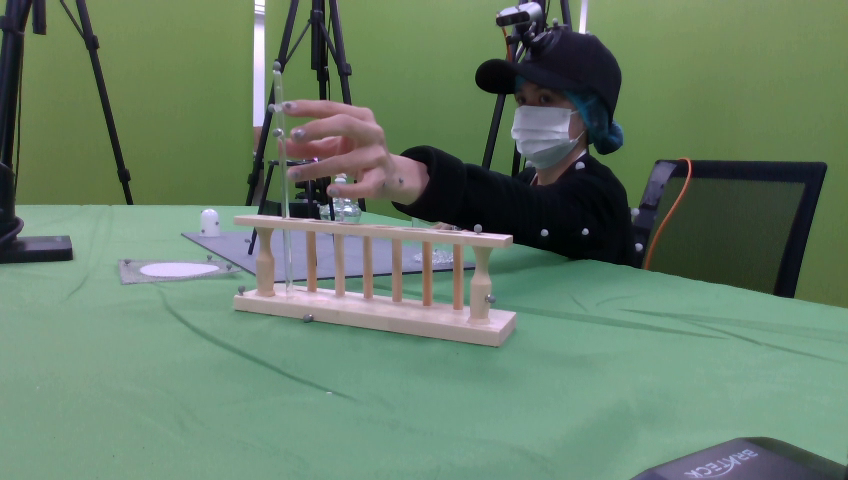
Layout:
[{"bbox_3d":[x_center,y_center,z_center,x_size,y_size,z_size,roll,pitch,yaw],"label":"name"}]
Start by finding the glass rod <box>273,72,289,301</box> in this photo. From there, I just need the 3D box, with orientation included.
[{"bbox_3d":[-0.122,-0.040,0.515,0.008,0.199,0.008,1,15,0],"label":"glass rod"}]

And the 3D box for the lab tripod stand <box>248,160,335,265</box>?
[{"bbox_3d":[-0.165,-0.040,0.817,0.148,0.131,0.148,5,7,0],"label":"lab tripod stand"}]

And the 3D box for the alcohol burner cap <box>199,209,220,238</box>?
[{"bbox_3d":[-0.356,-0.027,1.002,0.034,0.048,0.034,2,7,0],"label":"alcohol burner cap"}]

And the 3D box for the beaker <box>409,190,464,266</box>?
[{"bbox_3d":[0.018,-0.017,0.840,0.074,0.100,0.083,-3,10,-35],"label":"beaker"}]

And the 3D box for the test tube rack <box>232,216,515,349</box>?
[{"bbox_3d":[-0.045,0.029,0.525,0.241,0.085,0.067,5,7,19],"label":"test tube rack"}]

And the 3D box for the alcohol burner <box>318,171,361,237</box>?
[{"bbox_3d":[-0.155,-0.066,1.104,0.078,0.119,0.078,1,8,0],"label":"alcohol burner"}]

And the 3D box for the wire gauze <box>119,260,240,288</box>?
[{"bbox_3d":[-0.288,0.034,0.706,0.122,0.011,0.124,-3,10,-29],"label":"wire gauze"}]
